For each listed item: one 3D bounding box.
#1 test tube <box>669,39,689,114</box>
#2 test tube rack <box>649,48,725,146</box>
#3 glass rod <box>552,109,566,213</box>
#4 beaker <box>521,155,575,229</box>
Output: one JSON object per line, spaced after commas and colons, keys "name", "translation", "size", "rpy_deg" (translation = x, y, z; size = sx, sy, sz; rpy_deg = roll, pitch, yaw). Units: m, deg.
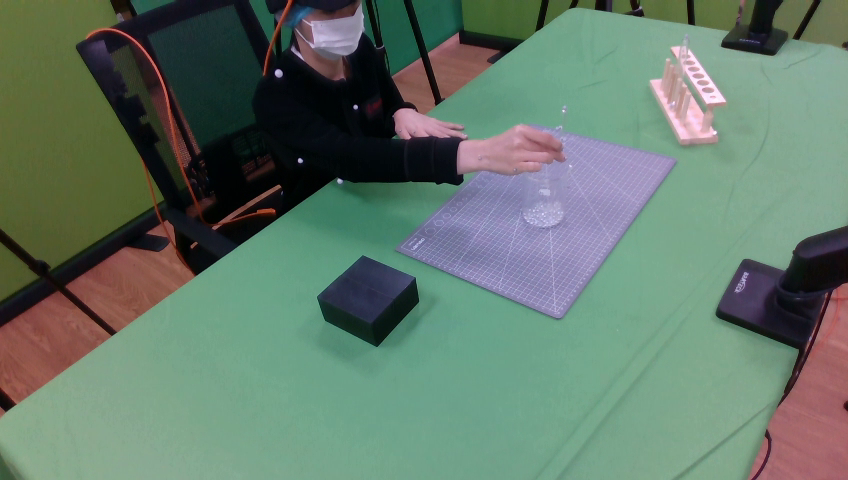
{"name": "test tube", "translation": [0.482, -0.308, 1.146], "size": [0.017, 0.151, 0.017], "rpy_deg": [-5, 42, 5]}
{"name": "test tube rack", "translation": [0.508, -0.285, 1.186], "size": [0.067, 0.085, 0.241], "rpy_deg": [-4, 40, 6]}
{"name": "glass rod", "translation": [0.207, -0.115, 0.932], "size": [0.008, 0.200, 0.008], "rpy_deg": [-3, 45, 3]}
{"name": "beaker", "translation": [0.197, -0.075, 0.969], "size": [0.084, 0.101, 0.073], "rpy_deg": [-6, 40, 2]}
